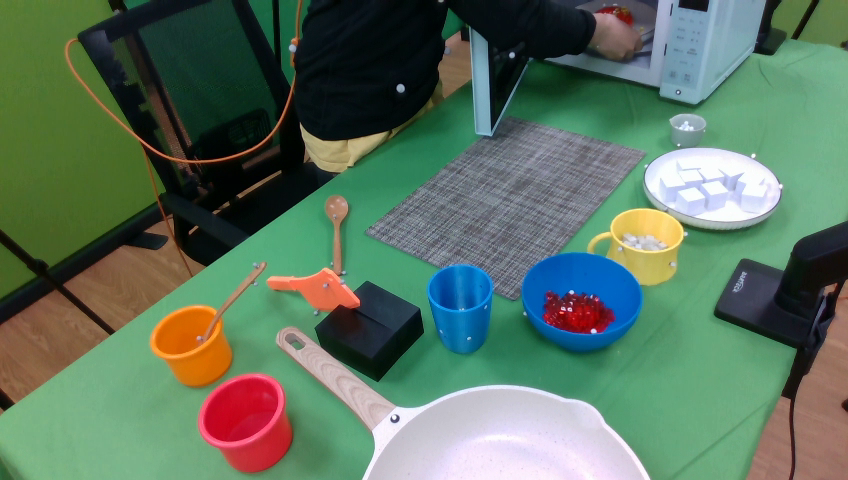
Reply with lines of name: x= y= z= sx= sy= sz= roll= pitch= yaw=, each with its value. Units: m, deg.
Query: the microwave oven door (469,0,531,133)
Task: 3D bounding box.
microwave oven door: x=0.163 y=-0.415 z=1.231 sx=0.039 sy=0.245 sz=0.355 roll=9 pitch=44 yaw=19

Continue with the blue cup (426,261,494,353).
blue cup: x=0.050 y=0.095 z=0.792 sx=0.092 sy=0.100 sz=0.092 roll=-3 pitch=42 yaw=3

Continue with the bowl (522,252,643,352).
bowl: x=0.204 y=0.093 z=0.792 sx=0.151 sy=0.077 sz=0.150 roll=-4 pitch=40 yaw=4

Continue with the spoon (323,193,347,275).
spoon: x=-0.148 y=-0.014 z=1.008 sx=0.042 sy=0.021 sz=0.192 roll=4 pitch=39 yaw=-12

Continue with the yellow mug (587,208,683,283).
yellow mug: x=0.305 y=0.009 z=0.884 sx=0.131 sy=0.064 sz=0.099 roll=-4 pitch=41 yaw=5

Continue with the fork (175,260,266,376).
fork: x=-0.268 y=0.103 z=0.792 sx=0.207 sy=0.019 sz=0.028 roll=-51 pitch=41 yaw=16

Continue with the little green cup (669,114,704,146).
little green cup: x=0.485 y=-0.203 z=1.123 sx=0.061 sy=0.039 sz=0.061 roll=-5 pitch=40 yaw=5

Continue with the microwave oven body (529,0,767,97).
microwave oven body: x=0.473 y=-0.516 z=1.313 sx=0.438 sy=0.261 sz=0.327 roll=26 pitch=51 yaw=34

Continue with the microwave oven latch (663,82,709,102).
microwave oven latch: x=0.519 y=-0.298 z=1.202 sx=0.078 sy=0.029 sz=0.030 roll=30 pitch=53 yaw=36

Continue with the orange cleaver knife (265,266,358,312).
orange cleaver knife: x=-0.164 y=0.073 z=0.864 sx=0.210 sy=0.077 sz=0.012 roll=-6 pitch=31 yaw=50

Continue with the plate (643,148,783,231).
plate: x=0.465 y=-0.080 z=0.986 sx=0.207 sy=0.039 sz=0.206 roll=-4 pitch=41 yaw=4

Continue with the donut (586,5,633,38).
donut: x=0.407 y=-0.480 z=1.327 sx=0.099 sy=0.048 sz=0.098 roll=-7 pitch=47 yaw=8

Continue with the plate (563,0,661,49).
plate: x=0.415 y=-0.479 z=1.344 sx=0.209 sy=0.038 sz=0.208 roll=-5 pitch=46 yaw=6

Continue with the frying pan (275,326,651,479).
frying pan: x=0.004 y=0.229 z=0.641 sx=0.484 sy=0.103 sz=0.308 roll=34 pitch=54 yaw=28
